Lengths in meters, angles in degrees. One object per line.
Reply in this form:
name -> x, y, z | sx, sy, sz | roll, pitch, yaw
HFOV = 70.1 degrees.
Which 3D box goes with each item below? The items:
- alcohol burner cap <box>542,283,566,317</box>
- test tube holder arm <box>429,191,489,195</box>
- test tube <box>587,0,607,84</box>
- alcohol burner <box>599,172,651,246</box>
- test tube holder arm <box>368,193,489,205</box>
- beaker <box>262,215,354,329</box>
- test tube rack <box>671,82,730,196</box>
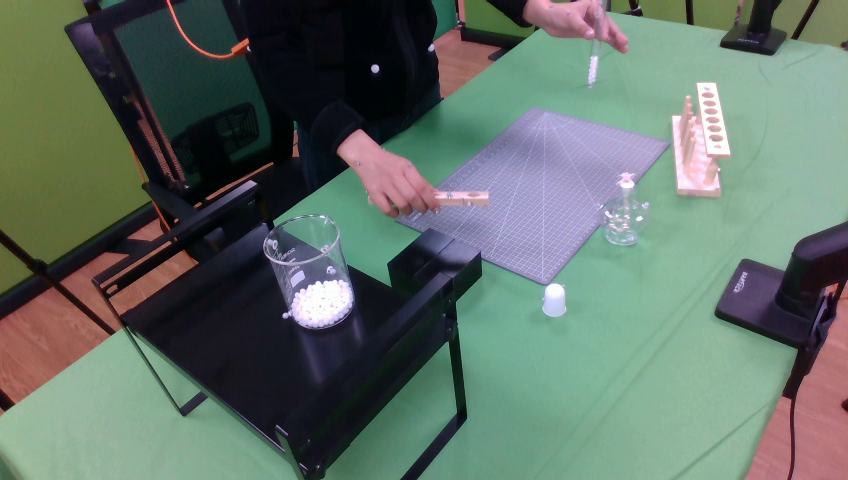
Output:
alcohol burner cap -> 0.181, 0.081, 0.840 | 0.034, 0.048, 0.033 | -4, 41, 4
test tube holder arm -> 0.050, -0.063, 0.872 | 0.087, 0.015, 0.010 | 0, 36, 10
test tube -> 0.287, -0.335, 1.001 | 0.017, 0.150, 0.017 | 1, 25, 0
alcohol burner -> 0.306, -0.051, 0.918 | 0.078, 0.119, 0.077 | -5, 41, 5
test tube holder arm -> 0.005, -0.060, 0.875 | 0.178, 0.015, 0.013 | -1, 35, 9
beaker -> -0.112, 0.034, 0.616 | 0.073, 0.101, 0.084 | 13, 44, 23
test tube rack -> 0.482, -0.184, 1.067 | 0.066, 0.085, 0.242 | 6, 42, 14
